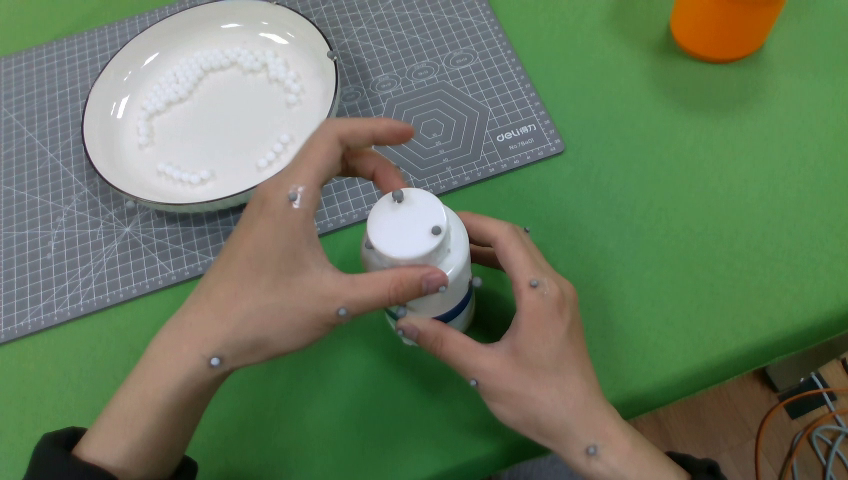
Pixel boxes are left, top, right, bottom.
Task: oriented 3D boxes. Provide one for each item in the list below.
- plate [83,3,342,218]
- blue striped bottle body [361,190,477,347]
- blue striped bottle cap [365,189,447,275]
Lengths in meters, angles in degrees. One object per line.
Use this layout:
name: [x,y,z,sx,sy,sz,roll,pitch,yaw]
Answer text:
plate: [-0.166,-0.105,0.493,0.207,0.039,0.206,-3,63,5]
blue striped bottle body: [-0.001,0.018,0.368,0.063,0.122,0.062,-3,62,6]
blue striped bottle cap: [-0.009,-0.005,0.321,0.044,0.021,0.044,1,56,-1]
